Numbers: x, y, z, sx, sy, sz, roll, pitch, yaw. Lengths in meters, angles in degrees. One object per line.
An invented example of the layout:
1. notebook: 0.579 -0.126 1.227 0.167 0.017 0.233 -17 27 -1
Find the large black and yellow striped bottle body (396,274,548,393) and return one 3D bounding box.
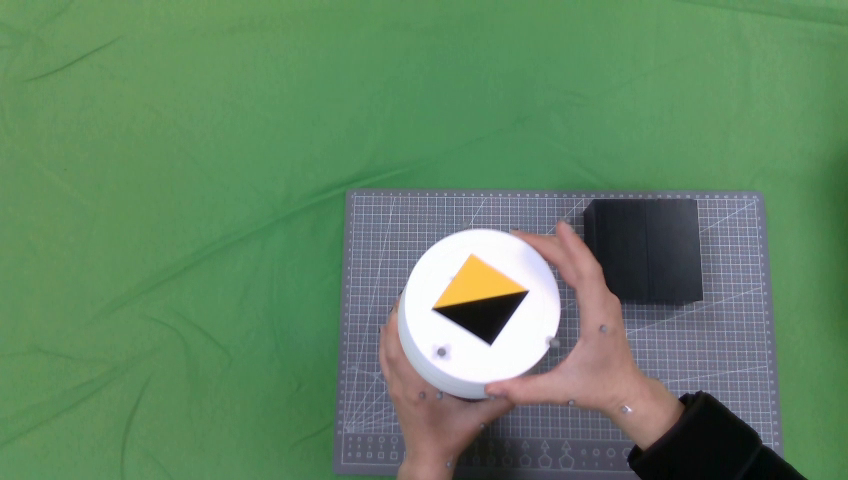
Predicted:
1. large black and yellow striped bottle body: 0.044 0.069 0.547 0.131 0.184 0.130 0 79 3

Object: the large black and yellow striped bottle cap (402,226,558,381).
1. large black and yellow striped bottle cap: 0.040 0.046 0.446 0.115 0.019 0.114 -1 78 4
